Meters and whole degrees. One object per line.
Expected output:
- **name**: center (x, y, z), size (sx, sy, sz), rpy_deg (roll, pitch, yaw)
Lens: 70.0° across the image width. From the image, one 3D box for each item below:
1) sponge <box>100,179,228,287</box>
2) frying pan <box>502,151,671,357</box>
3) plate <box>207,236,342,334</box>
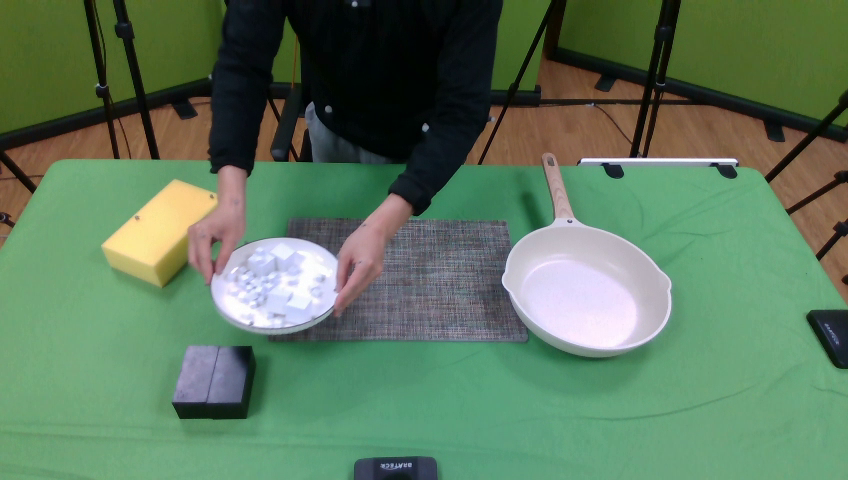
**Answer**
- **sponge**: center (-0.486, -0.018, 1.151), size (0.118, 0.061, 0.206), rpy_deg (19, 47, 13)
- **frying pan**: center (0.281, 0.008, 1.154), size (0.307, 0.103, 0.484), rpy_deg (1, 54, -6)
- **plate**: center (-0.238, 0.076, 0.978), size (0.208, 0.039, 0.206), rpy_deg (6, 41, -5)
